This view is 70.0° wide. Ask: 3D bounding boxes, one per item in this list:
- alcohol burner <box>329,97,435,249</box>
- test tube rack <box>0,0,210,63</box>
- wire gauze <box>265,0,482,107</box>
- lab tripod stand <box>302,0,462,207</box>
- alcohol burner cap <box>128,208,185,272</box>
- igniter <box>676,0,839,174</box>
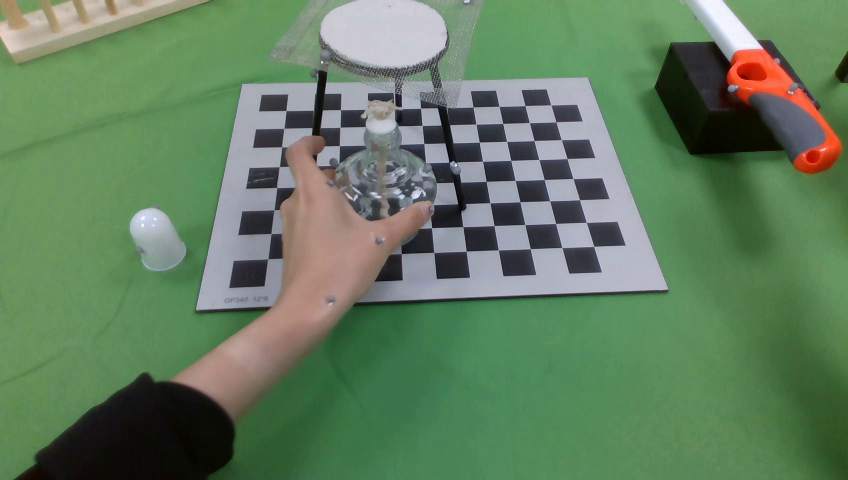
[{"bbox_3d":[-0.031,-0.050,0.434,0.078,0.120,0.077,1,50,-1],"label":"alcohol burner"},{"bbox_3d":[-0.331,-0.278,0.633,0.242,0.086,0.066,-30,59,-24],"label":"test tube rack"},{"bbox_3d":[-0.028,-0.141,0.411,0.125,0.011,0.120,12,51,6],"label":"wire gauze"},{"bbox_3d":[-0.027,-0.101,0.465,0.148,0.132,0.147,3,50,-3],"label":"lab tripod stand"},{"bbox_3d":[-0.199,-0.003,0.443,0.034,0.048,0.033,2,51,-2],"label":"alcohol burner cap"},{"bbox_3d":[0.284,-0.154,0.534,0.057,0.025,0.273,-4,49,-2],"label":"igniter"}]
